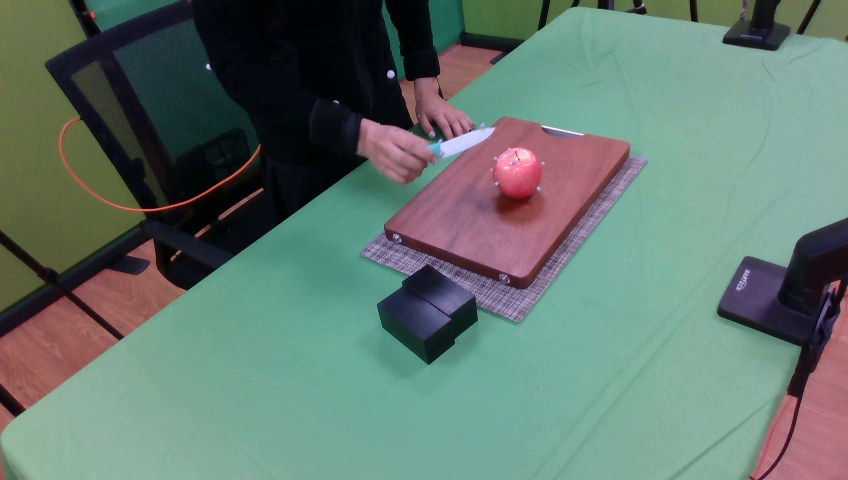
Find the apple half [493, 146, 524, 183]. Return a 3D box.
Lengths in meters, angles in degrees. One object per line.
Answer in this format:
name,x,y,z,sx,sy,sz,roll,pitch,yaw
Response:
apple half,0.139,-0.122,1.015,0.081,0.081,0.032,-34,50,-25

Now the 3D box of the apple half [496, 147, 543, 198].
apple half,0.164,-0.104,0.991,0.081,0.075,0.053,-31,48,-28

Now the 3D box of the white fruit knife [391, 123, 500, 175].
white fruit knife,0.025,-0.131,0.859,0.206,0.027,0.016,-15,32,41
